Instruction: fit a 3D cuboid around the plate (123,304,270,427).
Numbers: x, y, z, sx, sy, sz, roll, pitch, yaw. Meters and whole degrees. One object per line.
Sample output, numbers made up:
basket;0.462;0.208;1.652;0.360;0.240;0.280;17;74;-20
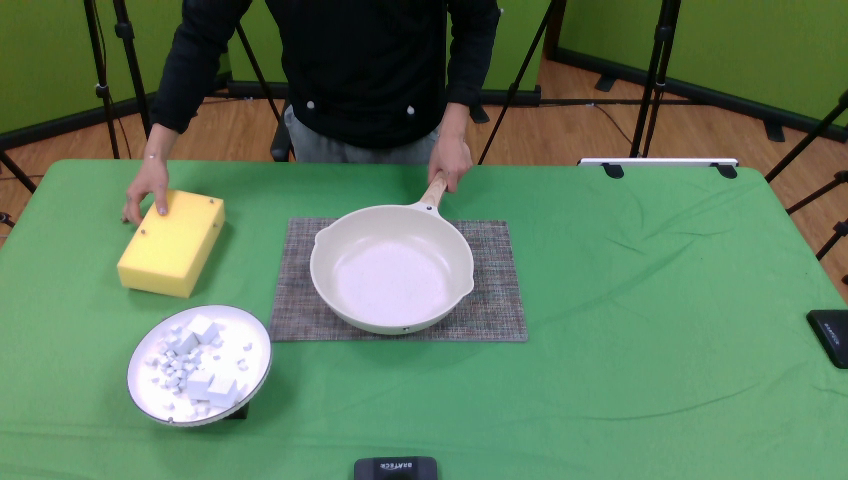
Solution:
plate;-0.336;0.189;0.913;0.208;0.039;0.206;1;46;-1

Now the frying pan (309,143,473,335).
frying pan;-0.018;-0.022;1.155;0.306;0.103;0.486;20;57;13

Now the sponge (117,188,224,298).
sponge;-0.463;0.001;1.124;0.118;0.061;0.205;11;45;-4
